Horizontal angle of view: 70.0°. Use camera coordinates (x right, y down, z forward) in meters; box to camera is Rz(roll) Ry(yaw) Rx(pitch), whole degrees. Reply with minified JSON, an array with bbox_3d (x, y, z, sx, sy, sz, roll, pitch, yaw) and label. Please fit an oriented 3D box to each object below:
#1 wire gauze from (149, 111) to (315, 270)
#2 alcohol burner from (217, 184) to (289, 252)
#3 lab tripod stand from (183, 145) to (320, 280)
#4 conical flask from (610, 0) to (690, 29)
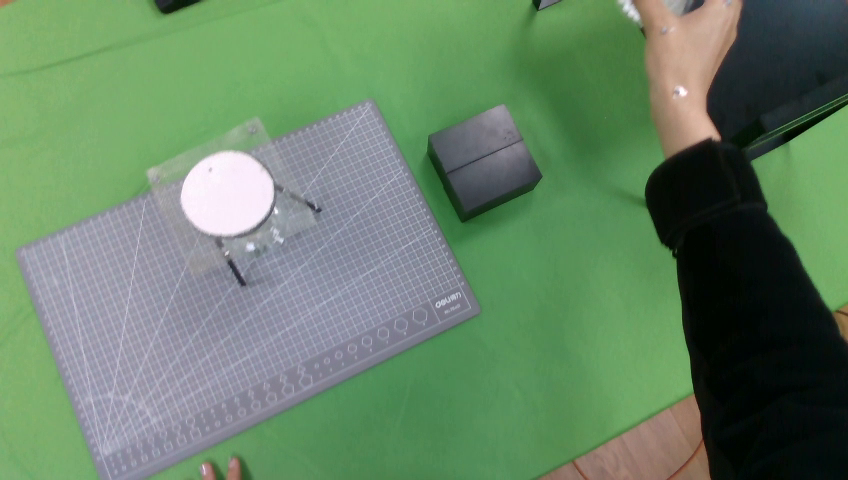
[{"bbox_3d":[-0.186,-0.049,0.580,0.125,0.011,0.121,-26,80,-7],"label":"wire gauze"},{"bbox_3d":[-0.189,-0.028,0.655,0.078,0.119,0.077,0,79,-1],"label":"alcohol burner"},{"bbox_3d":[-0.194,-0.038,0.646,0.148,0.132,0.147,0,79,-1],"label":"lab tripod stand"},{"bbox_3d":[0.206,-0.232,0.495,0.075,0.122,0.075,0,83,-4],"label":"conical flask"}]
